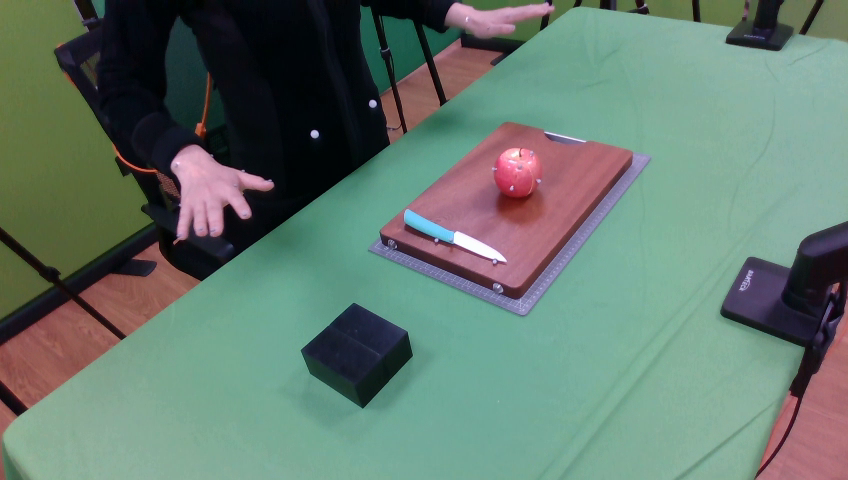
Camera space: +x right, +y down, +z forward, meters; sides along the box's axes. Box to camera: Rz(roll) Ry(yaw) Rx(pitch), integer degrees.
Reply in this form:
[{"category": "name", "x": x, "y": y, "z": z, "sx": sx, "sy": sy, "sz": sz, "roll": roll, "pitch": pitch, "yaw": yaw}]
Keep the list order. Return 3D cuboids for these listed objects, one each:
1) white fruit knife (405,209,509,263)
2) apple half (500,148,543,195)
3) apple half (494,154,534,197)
[{"category": "white fruit knife", "x": 0.046, "y": -0.005, "z": 0.944, "sx": 0.205, "sy": 0.016, "sz": 0.027, "roll": 24, "pitch": 64, "yaw": 32}, {"category": "apple half", "x": 0.166, "y": -0.118, "z": 1.010, "sx": 0.080, "sy": 0.075, "sz": 0.053, "roll": 23, "pitch": 46, "yaw": 38}, {"category": "apple half", "x": 0.140, "y": -0.098, "z": 0.989, "sx": 0.080, "sy": 0.081, "sz": 0.033, "roll": 27, "pitch": 50, "yaw": 35}]
